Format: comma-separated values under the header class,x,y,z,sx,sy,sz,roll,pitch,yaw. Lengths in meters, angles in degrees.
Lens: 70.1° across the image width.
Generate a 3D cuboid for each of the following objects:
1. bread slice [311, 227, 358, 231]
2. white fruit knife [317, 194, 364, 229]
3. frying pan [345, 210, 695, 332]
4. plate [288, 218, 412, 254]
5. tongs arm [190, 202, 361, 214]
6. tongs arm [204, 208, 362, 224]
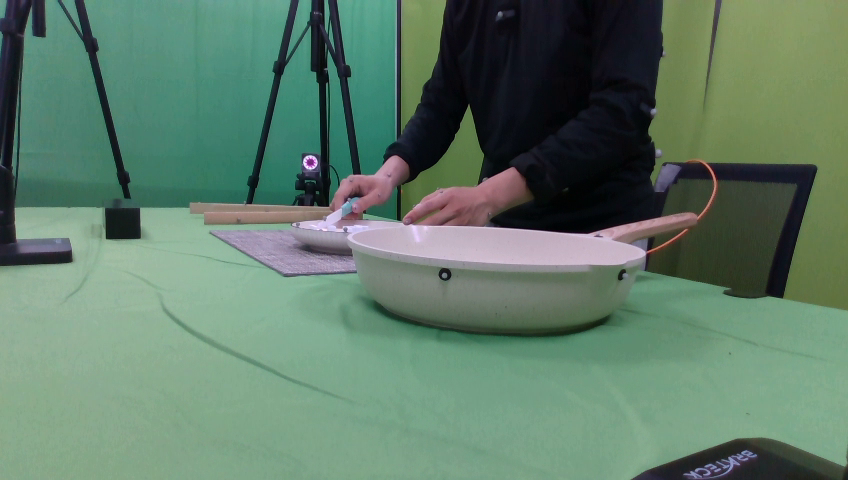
class,x,y,z,sx,sy,sz,roll,pitch,yaw
bread slice,-0.115,-0.006,0.950,0.134,0.018,0.107,3,6,-7
white fruit knife,-0.133,-0.047,0.986,0.016,0.027,0.207,18,18,7
frying pan,0.153,0.009,0.668,0.490,0.102,0.305,-12,15,-32
plate,-0.109,-0.007,0.956,0.208,0.039,0.207,2,7,0
tongs arm,-0.334,-0.068,1.403,0.387,0.026,0.050,0,8,-27
tongs arm,-0.292,-0.054,1.337,0.390,0.028,0.028,-3,7,-40
